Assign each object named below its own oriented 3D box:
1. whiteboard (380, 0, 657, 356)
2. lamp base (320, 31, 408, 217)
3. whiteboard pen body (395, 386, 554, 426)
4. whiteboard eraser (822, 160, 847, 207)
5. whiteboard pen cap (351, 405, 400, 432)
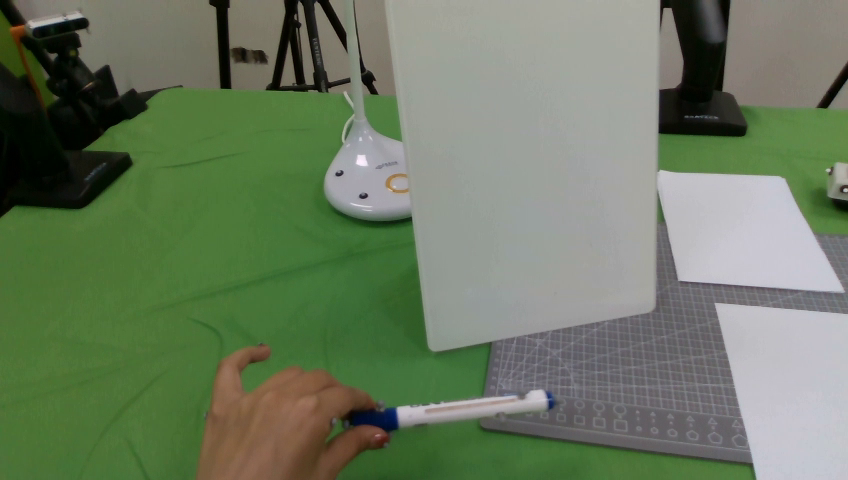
[{"bbox_3d":[0.081,-0.078,0.565,0.217,0.307,0.143,-9,19,-6],"label":"whiteboard"},{"bbox_3d":[-0.061,-0.144,0.717,0.161,0.182,0.177,-27,41,-27],"label":"lamp base"},{"bbox_3d":[0.025,0.120,0.432,0.141,0.017,0.017,-4,37,-8],"label":"whiteboard pen body"},{"bbox_3d":[0.508,-0.055,0.672,0.112,0.042,0.055,15,43,22],"label":"whiteboard eraser"},{"bbox_3d":[-0.034,0.124,0.424,0.033,0.018,0.018,-3,37,-10],"label":"whiteboard pen cap"}]
